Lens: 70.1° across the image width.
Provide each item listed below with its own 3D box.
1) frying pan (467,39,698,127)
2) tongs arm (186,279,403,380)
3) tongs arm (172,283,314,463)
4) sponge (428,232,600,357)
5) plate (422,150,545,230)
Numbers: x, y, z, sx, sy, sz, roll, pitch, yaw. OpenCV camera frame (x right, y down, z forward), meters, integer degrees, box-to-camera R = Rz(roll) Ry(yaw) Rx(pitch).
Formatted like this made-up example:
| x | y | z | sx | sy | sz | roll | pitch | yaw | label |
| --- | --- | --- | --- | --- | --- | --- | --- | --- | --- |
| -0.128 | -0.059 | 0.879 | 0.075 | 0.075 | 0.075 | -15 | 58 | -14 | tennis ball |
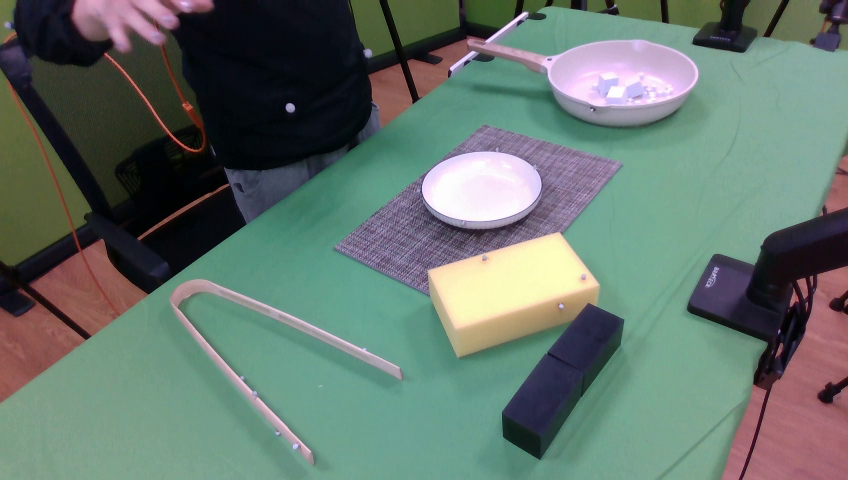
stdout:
| x | y | z | sx | sy | sz | roll | pitch | yaw | label |
| --- | --- | --- | --- | --- | --- | --- | --- | --- | --- |
| 0.312 | -0.359 | 1.277 | 0.485 | 0.103 | 0.307 | 23 | 48 | 19 | frying pan |
| -0.193 | 0.120 | 0.853 | 0.385 | 0.028 | 0.028 | 17 | 48 | 27 | tongs arm |
| -0.246 | 0.161 | 0.806 | 0.381 | 0.026 | 0.051 | 29 | 51 | 36 | tongs arm |
| 0.120 | 0.071 | 0.834 | 0.207 | 0.061 | 0.117 | -15 | 43 | -12 | sponge |
| 0.101 | -0.082 | 1.031 | 0.207 | 0.039 | 0.206 | -4 | 40 | 4 | plate |
